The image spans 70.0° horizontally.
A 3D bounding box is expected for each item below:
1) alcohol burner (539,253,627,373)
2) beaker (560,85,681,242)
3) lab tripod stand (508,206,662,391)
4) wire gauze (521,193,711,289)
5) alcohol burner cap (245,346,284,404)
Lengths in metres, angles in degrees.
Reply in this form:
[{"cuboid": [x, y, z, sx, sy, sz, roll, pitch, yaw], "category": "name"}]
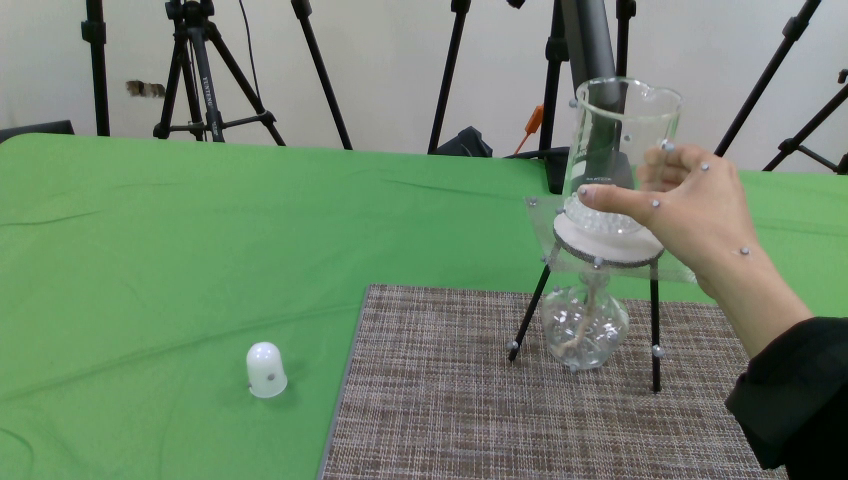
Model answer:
[{"cuboid": [0.143, 0.059, 0.533, 0.078, 0.120, 0.077, 2, 36, -1], "category": "alcohol burner"}, {"cuboid": [0.144, -0.057, 0.456, 0.073, 0.101, 0.084, 25, 41, 30], "category": "beaker"}, {"cuboid": [0.151, 0.049, 0.530, 0.148, 0.132, 0.147, 3, 34, -1], "category": "lab tripod stand"}, {"cuboid": [0.148, -0.004, 0.488, 0.125, 0.011, 0.120, 1, 35, -2], "category": "wire gauze"}, {"cuboid": [-0.138, 0.112, 0.517, 0.034, 0.048, 0.033, 1, 35, -1], "category": "alcohol burner cap"}]
